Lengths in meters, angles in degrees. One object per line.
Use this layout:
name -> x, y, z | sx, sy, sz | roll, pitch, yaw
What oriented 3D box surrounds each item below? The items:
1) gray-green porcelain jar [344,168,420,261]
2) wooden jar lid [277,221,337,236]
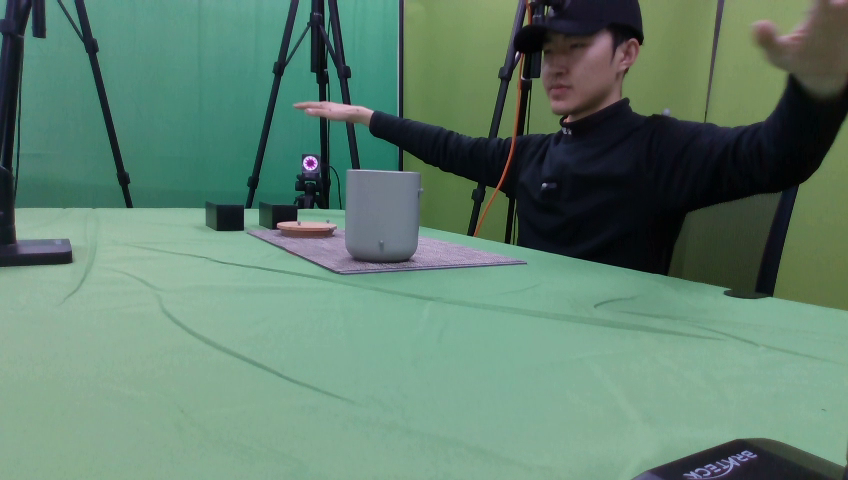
gray-green porcelain jar -> -0.059, -0.037, 0.858 | 0.106, 0.126, 0.106 | 2, 7, 0
wooden jar lid -> -0.215, -0.021, 1.112 | 0.108, 0.020, 0.108 | 3, 7, 0
